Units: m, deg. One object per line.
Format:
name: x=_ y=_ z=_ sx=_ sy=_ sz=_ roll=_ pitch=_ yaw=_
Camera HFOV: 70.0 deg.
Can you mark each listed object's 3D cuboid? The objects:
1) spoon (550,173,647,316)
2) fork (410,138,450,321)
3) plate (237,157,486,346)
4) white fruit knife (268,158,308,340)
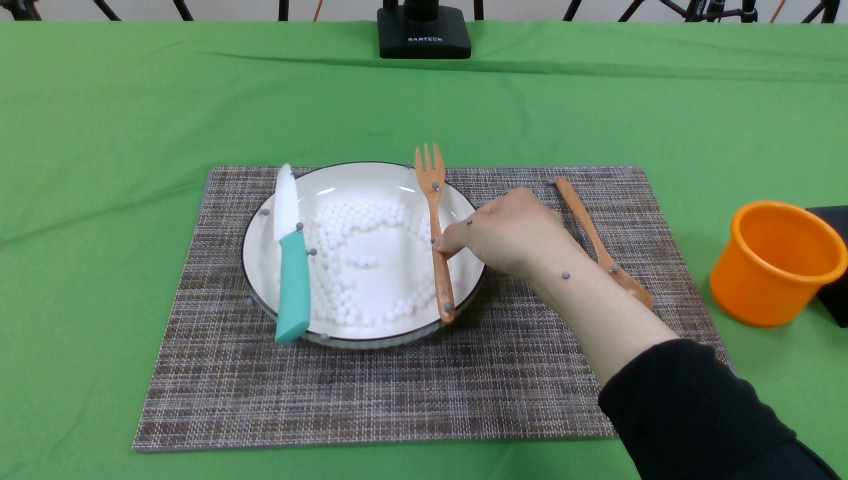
spoon: x=0.153 y=-0.004 z=0.560 sx=0.041 sy=0.022 sz=0.191 roll=-18 pitch=49 yaw=4
fork: x=0.006 y=-0.018 z=0.519 sx=0.028 sy=0.019 sz=0.205 roll=-8 pitch=47 yaw=3
plate: x=-0.051 y=0.007 z=0.524 sx=0.209 sy=0.038 sz=0.207 roll=2 pitch=47 yaw=-2
white fruit knife: x=-0.114 y=-0.005 z=0.501 sx=0.027 sy=0.016 sz=0.205 roll=-8 pitch=48 yaw=-8
